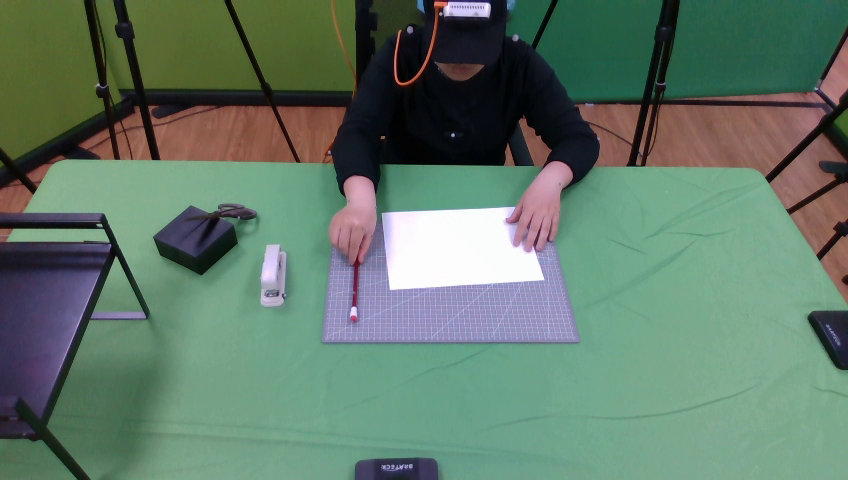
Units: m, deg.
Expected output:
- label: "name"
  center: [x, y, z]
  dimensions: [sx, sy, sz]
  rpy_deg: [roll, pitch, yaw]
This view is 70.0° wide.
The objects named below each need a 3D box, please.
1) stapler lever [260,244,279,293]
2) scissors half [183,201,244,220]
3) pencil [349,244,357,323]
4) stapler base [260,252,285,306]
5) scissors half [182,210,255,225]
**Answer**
- label: "stapler lever"
  center: [-0.278, 0.045, 1.096]
  dimensions: [0.027, 0.040, 0.117]
  rpy_deg: [-2, 44, -9]
- label: "scissors half"
  center: [-0.405, -0.054, 1.163]
  dimensions: [0.040, 0.013, 0.175]
  rpy_deg: [30, 18, 7]
- label: "pencil"
  center: [-0.129, 0.075, 1.118]
  dimensions: [0.012, 0.012, 0.193]
  rpy_deg: [0, 44, -4]
- label: "stapler base"
  center: [-0.279, 0.064, 1.113]
  dimensions: [0.041, 0.024, 0.129]
  rpy_deg: [-2, 44, -9]
- label: "scissors half"
  center: [-0.389, -0.042, 1.158]
  dimensions: [0.040, 0.013, 0.175]
  rpy_deg: [42, 21, 22]
